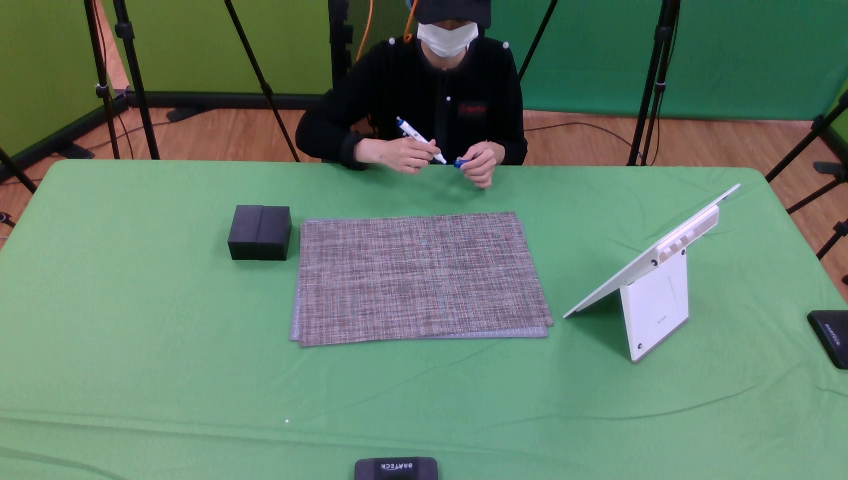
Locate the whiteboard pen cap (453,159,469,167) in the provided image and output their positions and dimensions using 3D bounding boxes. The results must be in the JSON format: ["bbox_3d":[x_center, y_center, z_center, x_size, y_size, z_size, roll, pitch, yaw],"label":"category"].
[{"bbox_3d":[0.076,-0.164,1.281,0.033,0.018,0.018,-4,47,-13],"label":"whiteboard pen cap"}]

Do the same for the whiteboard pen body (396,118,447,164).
[{"bbox_3d":[-0.002,-0.199,1.232,0.141,0.017,0.017,37,39,-27],"label":"whiteboard pen body"}]

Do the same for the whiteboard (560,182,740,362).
[{"bbox_3d":[0.406,0.075,1.001,0.217,0.306,0.143,-28,73,-28],"label":"whiteboard"}]
